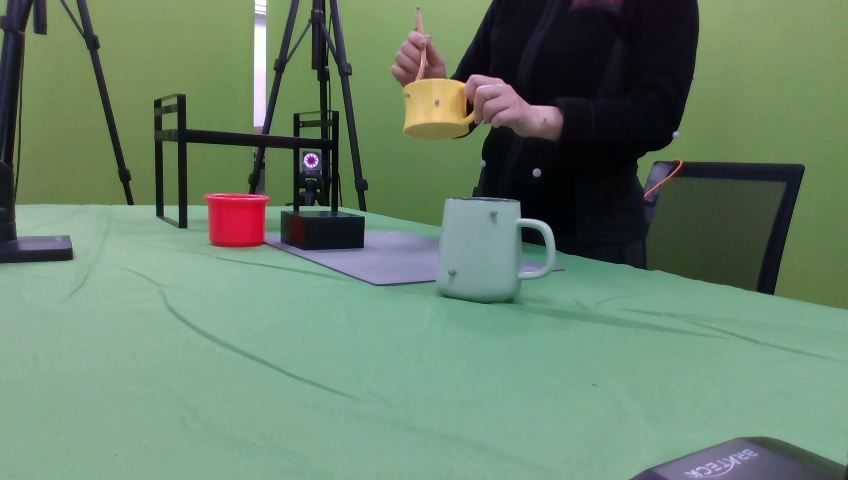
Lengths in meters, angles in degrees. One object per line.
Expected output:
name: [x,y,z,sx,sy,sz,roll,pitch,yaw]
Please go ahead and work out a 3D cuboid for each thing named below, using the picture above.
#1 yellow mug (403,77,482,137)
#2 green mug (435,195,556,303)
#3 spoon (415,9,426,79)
yellow mug: [0.030,-0.199,0.899,0.130,0.064,0.100,-3,-5,37]
green mug: [0.074,0.009,0.624,0.125,0.105,0.093,5,7,23]
spoon: [-0.004,-0.282,0.933,0.021,0.193,0.041,0,-27,2]
